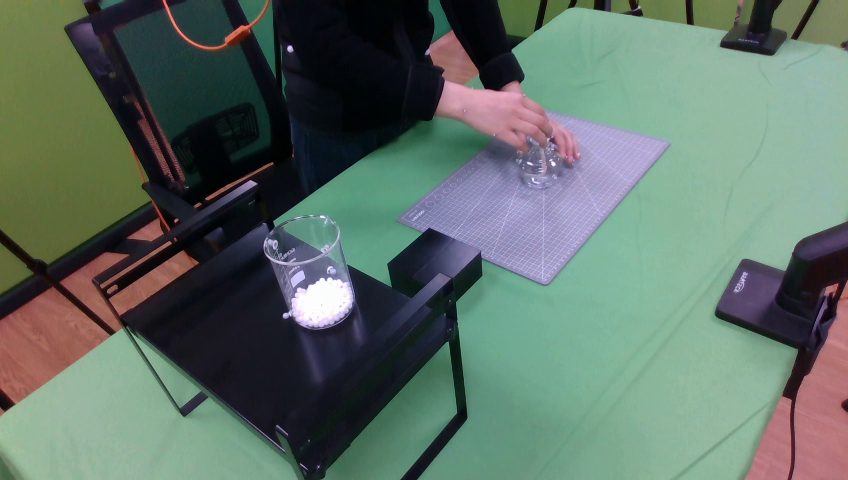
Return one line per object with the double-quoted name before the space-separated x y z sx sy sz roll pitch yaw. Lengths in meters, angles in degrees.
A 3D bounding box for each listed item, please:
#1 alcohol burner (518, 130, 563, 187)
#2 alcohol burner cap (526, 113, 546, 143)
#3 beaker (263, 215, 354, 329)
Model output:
"alcohol burner" 0.201 -0.151 1.046 0.078 0.120 0.077 -6 42 6
"alcohol burner cap" 0.189 -0.190 1.014 0.034 0.048 0.033 -3 38 3
"beaker" -0.112 0.034 0.616 0.073 0.101 0.084 13 44 23
